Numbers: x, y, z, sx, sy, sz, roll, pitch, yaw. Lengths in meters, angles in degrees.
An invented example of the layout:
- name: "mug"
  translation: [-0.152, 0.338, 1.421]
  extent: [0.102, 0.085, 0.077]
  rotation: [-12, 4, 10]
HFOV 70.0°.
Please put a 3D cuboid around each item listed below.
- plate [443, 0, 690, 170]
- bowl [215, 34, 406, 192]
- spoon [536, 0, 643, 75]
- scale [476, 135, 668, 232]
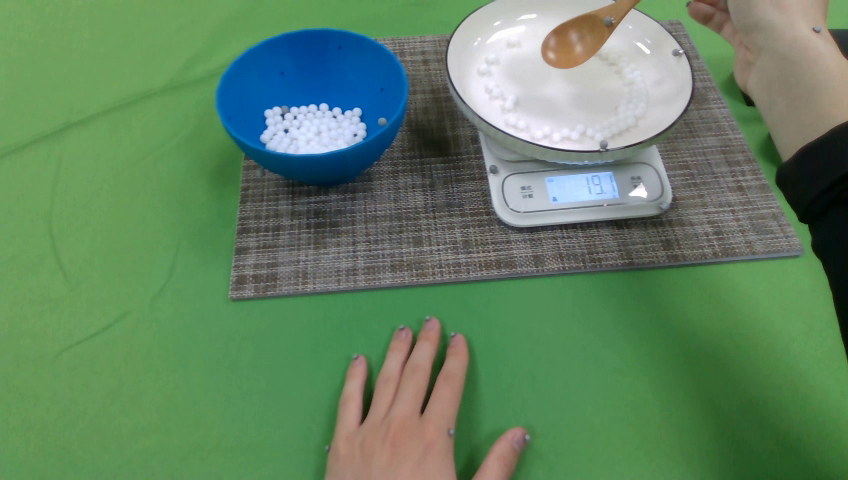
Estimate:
- name: "plate"
  translation: [0.119, -0.135, 0.525]
  extent: [0.209, 0.038, 0.207]
  rotation: [1, 55, 0]
- name: "bowl"
  translation: [-0.088, -0.094, 0.507]
  extent: [0.151, 0.077, 0.150]
  rotation: [0, 55, 0]
- name: "spoon"
  translation: [0.170, -0.187, 0.458]
  extent: [0.193, 0.022, 0.041]
  rotation: [-31, 69, 31]
- name: "scale"
  translation: [0.120, -0.098, 0.538]
  extent: [0.149, 0.032, 0.199]
  rotation: [-5, 55, -3]
